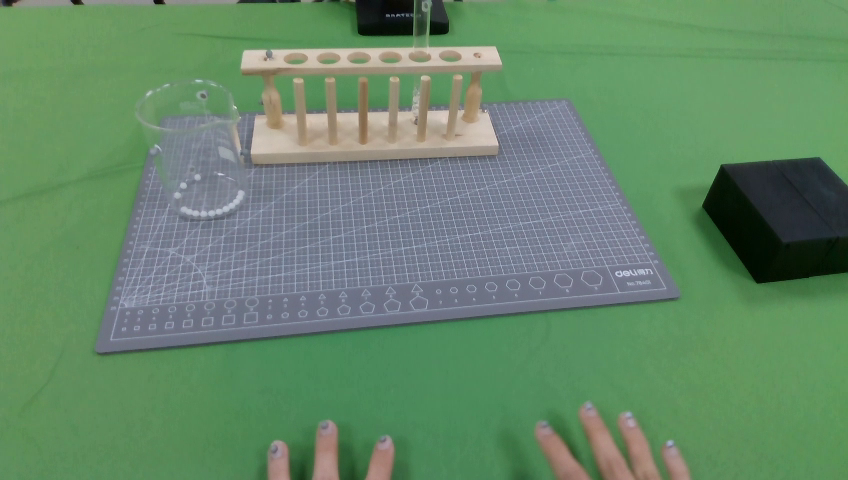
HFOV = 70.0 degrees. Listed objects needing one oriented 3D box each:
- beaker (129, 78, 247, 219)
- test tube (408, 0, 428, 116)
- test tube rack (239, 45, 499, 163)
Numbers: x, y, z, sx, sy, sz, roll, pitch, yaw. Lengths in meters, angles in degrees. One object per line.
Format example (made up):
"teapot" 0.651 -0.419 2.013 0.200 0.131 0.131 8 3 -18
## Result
"beaker" -0.191 -0.074 0.515 0.084 0.101 0.073 10 46 6
"test tube" -0.006 -0.186 0.577 0.017 0.151 0.017 2 42 -1
"test tube rack" -0.050 -0.134 0.593 0.243 0.086 0.066 -3 46 -7
